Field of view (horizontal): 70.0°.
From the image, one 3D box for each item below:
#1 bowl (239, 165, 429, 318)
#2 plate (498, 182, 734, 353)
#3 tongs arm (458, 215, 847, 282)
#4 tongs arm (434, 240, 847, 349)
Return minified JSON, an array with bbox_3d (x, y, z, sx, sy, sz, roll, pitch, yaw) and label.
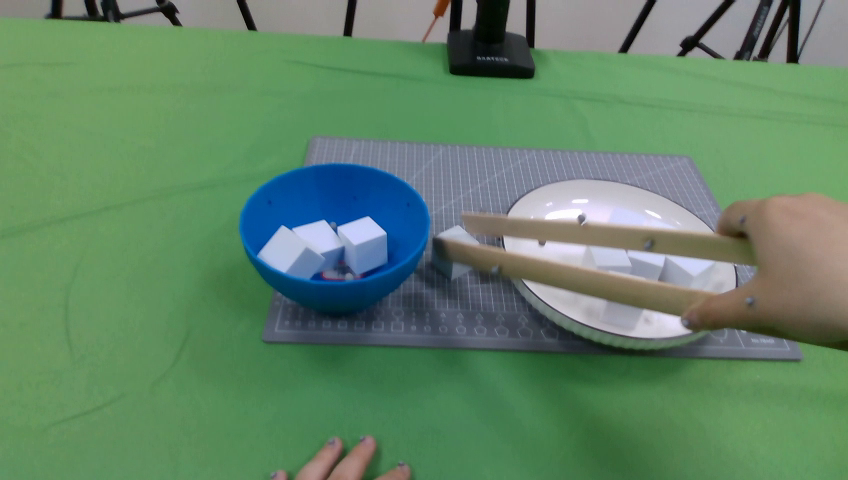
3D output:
[{"bbox_3d":[-0.073,0.012,0.507,0.151,0.077,0.150,3,42,-3],"label":"bowl"},{"bbox_3d":[0.168,0.023,0.550,0.208,0.039,0.205,3,42,-3],"label":"plate"},{"bbox_3d":[0.175,0.016,0.414,0.382,0.027,0.050,6,40,37],"label":"tongs arm"},{"bbox_3d":[0.159,0.032,0.399,0.384,0.028,0.028,9,38,39],"label":"tongs arm"}]
